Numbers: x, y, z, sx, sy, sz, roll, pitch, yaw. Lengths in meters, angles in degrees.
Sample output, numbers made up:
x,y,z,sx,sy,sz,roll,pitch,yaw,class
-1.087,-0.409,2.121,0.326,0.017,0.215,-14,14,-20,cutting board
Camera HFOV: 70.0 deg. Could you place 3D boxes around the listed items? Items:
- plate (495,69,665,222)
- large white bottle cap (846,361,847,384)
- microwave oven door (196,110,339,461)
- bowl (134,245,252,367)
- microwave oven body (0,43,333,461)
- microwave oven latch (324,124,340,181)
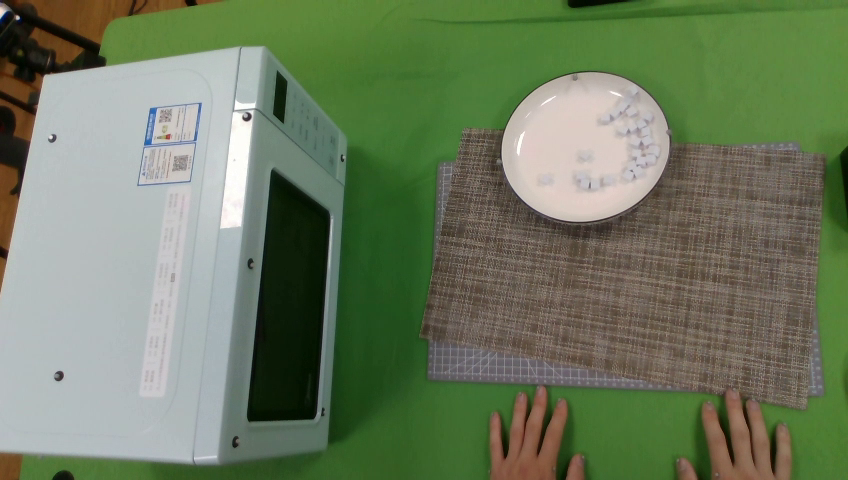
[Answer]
x,y,z,sx,sy,sz,roll,pitch,yaw,class
0.197,-0.119,0.777,0.208,0.038,0.208,-4,73,14,plate
0.512,0.147,0.637,0.114,0.018,0.114,-3,75,13,large white bottle cap
-0.168,0.063,0.706,0.039,0.245,0.354,-3,75,15,microwave oven door
-0.276,0.088,0.767,0.151,0.077,0.150,-4,74,14,bowl
-0.307,0.031,0.757,0.325,0.262,0.439,-3,76,14,microwave oven body
-0.135,-0.123,0.853,0.030,0.030,0.079,-3,76,14,microwave oven latch
